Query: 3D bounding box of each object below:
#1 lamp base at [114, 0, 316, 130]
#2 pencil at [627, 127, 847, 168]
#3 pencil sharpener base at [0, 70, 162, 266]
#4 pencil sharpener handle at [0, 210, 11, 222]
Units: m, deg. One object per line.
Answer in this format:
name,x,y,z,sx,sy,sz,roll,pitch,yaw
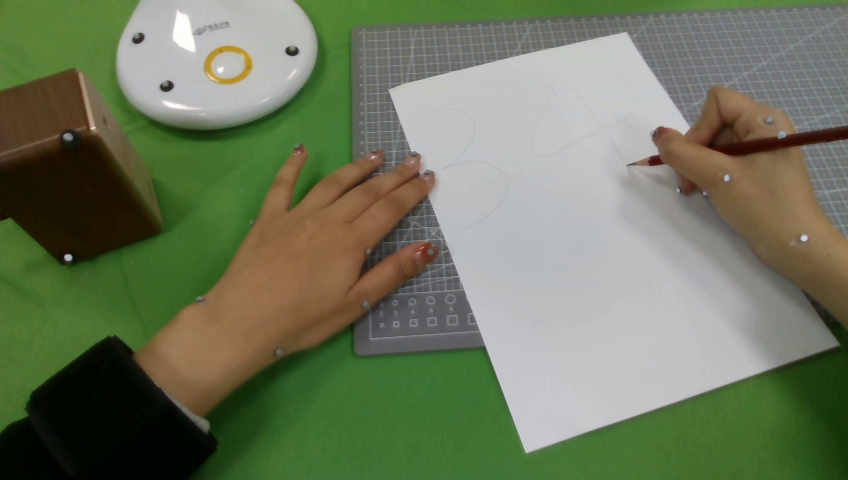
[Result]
lamp base,-0.178,-0.201,0.435,0.160,0.182,0.177,-32,62,-17
pencil,0.208,-0.057,0.371,0.193,0.012,0.012,-3,44,53
pencil sharpener base,-0.226,-0.040,0.383,0.077,0.108,0.061,-22,62,-12
pencil sharpener handle,-0.273,-0.029,0.362,0.031,0.068,0.035,-22,64,-12
